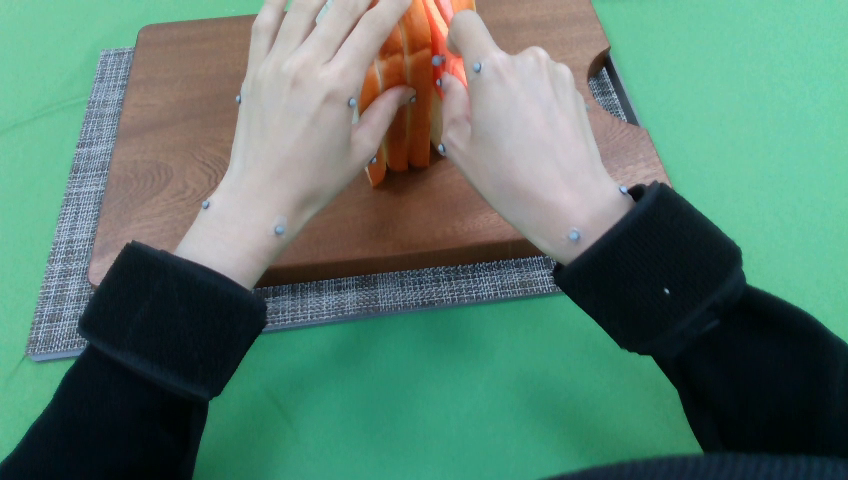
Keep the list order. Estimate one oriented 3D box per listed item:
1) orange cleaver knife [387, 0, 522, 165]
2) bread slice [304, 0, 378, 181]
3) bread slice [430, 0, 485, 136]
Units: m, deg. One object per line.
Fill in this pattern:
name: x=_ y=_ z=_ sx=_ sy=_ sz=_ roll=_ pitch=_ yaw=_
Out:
orange cleaver knife: x=0.004 y=-0.125 z=0.377 sx=0.012 sy=0.077 sz=0.210 roll=-23 pitch=71 yaw=-10
bread slice: x=-0.057 y=-0.123 z=0.407 sx=0.018 sy=0.135 sz=0.106 roll=-19 pitch=54 yaw=-14
bread slice: x=0.013 y=-0.149 z=0.425 sx=0.019 sy=0.133 sz=0.104 roll=-28 pitch=58 yaw=-2
